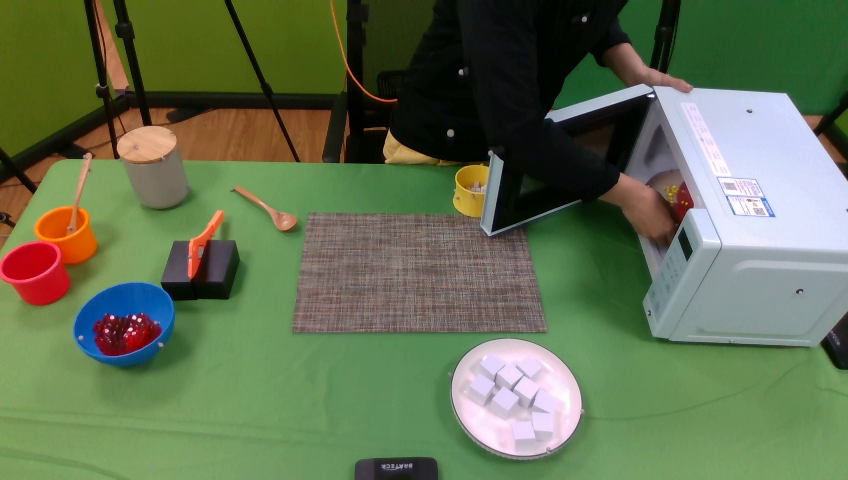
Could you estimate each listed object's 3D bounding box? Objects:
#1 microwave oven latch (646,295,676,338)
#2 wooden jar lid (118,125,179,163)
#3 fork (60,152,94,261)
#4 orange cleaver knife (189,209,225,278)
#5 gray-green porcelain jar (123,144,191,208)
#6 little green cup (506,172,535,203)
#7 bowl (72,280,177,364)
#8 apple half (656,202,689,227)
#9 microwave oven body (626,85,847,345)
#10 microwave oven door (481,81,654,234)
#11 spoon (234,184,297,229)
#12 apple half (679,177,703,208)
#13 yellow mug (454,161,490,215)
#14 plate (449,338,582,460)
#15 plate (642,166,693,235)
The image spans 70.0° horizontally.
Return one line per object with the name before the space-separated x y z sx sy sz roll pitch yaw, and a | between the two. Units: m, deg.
microwave oven latch | 0.413 0.133 1.060 0.030 0.029 0.078 4 46 1
wooden jar lid | -0.528 -0.181 1.167 0.108 0.021 0.107 4 48 -4
fork | -0.638 -0.063 1.120 0.028 0.018 0.207 12 90 6
orange cleaver knife | -0.401 0.002 1.122 0.012 0.077 0.210 4 23 -4
gray-green porcelain jar | -0.531 -0.137 1.214 0.106 0.127 0.105 2 47 -2
little green cup | 0.205 -0.111 1.302 0.061 0.039 0.061 2 47 -2
bowl | -0.473 0.147 0.982 0.151 0.077 0.150 2 46 -2
apple half | 0.485 -0.055 1.160 0.081 0.033 0.081 6 35 -4
microwave oven body | 0.569 -0.054 1.116 0.326 0.261 0.439 2 46 -1
microwave oven door | 0.281 -0.163 1.192 0.356 0.245 0.039 -21 51 -22
spoon | -0.327 -0.073 1.240 0.193 0.022 0.041 34 70 25
apple half | 0.548 -0.098 1.193 0.081 0.053 0.074 6 38 7
yellow mug | 0.117 -0.119 1.284 0.100 0.064 0.130 9 44 4
plate | 0.141 0.251 0.955 0.208 0.039 0.206 2 46 -2
plate | 0.528 -0.064 1.184 0.209 0.038 0.208 2 45 -2
